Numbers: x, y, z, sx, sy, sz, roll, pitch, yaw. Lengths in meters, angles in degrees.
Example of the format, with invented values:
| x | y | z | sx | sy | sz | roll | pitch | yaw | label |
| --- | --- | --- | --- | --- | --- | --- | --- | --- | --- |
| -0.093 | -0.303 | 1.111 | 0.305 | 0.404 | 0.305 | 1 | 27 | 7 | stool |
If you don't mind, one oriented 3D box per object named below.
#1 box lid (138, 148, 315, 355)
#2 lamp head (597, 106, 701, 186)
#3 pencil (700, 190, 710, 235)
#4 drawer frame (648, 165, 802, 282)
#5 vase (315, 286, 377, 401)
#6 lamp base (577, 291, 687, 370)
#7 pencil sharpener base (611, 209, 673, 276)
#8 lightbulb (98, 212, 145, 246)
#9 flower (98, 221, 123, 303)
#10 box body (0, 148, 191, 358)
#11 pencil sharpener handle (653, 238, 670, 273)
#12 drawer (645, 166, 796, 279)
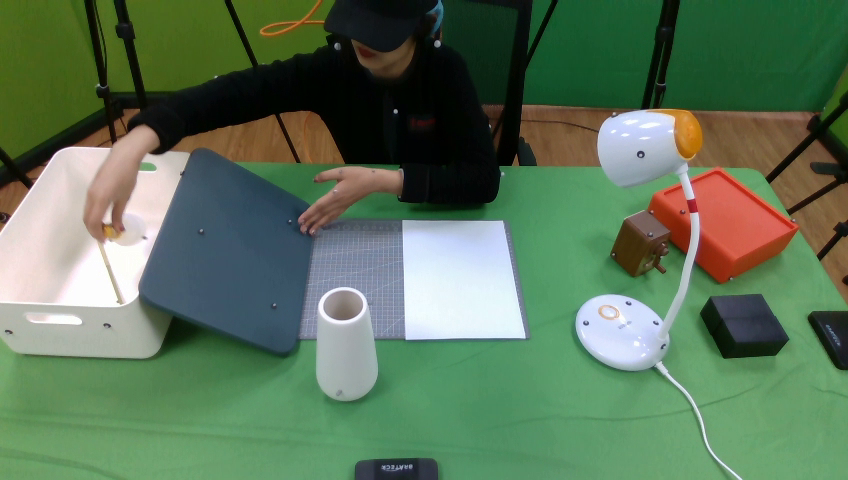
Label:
| x | y | z | sx | sy | sz | roll | pitch | yaw | label |
| --- | --- | --- | --- | --- | --- | --- | --- | --- | --- |
| -0.321 | 0.008 | 1.063 | 0.264 | 0.015 | 0.369 | 30 | 38 | -28 | box lid |
| 0.329 | -0.138 | 0.865 | 0.112 | 0.113 | 0.122 | -36 | 20 | -32 | lamp head |
| 0.584 | -0.059 | 1.256 | 0.012 | 0.012 | 0.193 | 16 | 34 | 12 | pencil |
| 0.603 | -0.040 | 1.233 | 0.202 | 0.083 | 0.212 | -21 | 51 | -23 | drawer frame |
| -0.119 | 0.159 | 0.911 | 0.098 | 0.201 | 0.097 | 2 | 47 | -2 | vase |
| 0.361 | 0.110 | 1.003 | 0.160 | 0.181 | 0.178 | -31 | 57 | -28 | lamp base |
| 0.416 | 0.007 | 1.158 | 0.061 | 0.107 | 0.076 | -21 | 51 | -22 | pencil sharpener base |
| -0.522 | -0.019 | 1.039 | 0.059 | 0.107 | 0.059 | 0 | 91 | 0 | lightbulb |
| -0.557 | 0.069 | 1.089 | 0.044 | 0.038 | 0.359 | -22 | 47 | -20 | flower |
| -0.546 | 0.017 | 1.045 | 0.254 | 0.161 | 0.361 | 2 | 46 | -2 | box body |
| 0.444 | 0.030 | 1.120 | 0.036 | 0.068 | 0.030 | -25 | 52 | -18 | pencil sharpener handle |
| 0.600 | -0.041 | 1.236 | 0.195 | 0.073 | 0.210 | -21 | 51 | -23 | drawer |
